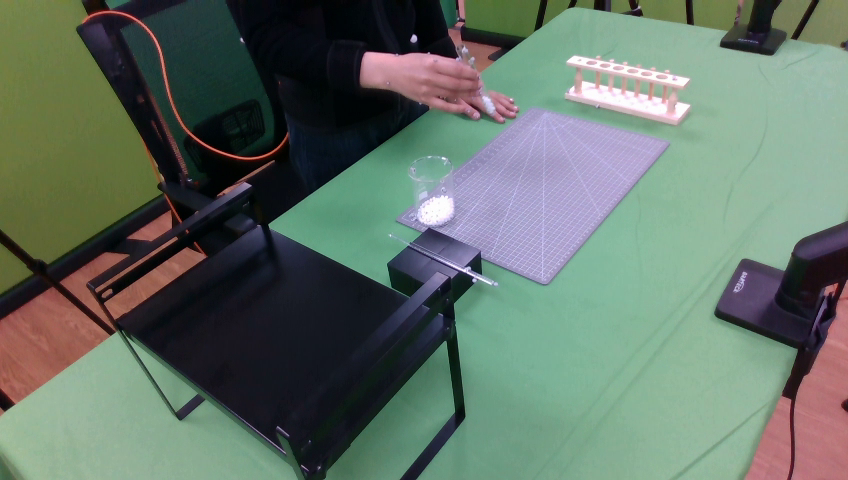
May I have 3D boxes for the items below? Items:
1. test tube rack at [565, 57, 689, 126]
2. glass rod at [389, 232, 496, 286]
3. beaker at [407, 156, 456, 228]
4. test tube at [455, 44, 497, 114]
[{"bbox_3d":[0.412,-0.311,1.230,0.240,0.085,0.067,23,49,32],"label":"test tube rack"},{"bbox_3d":[0.022,0.025,0.878,0.198,0.008,0.008,25,50,33],"label":"glass rod"},{"bbox_3d":[0.017,-0.079,1.002,0.073,0.101,0.084,25,49,33],"label":"beaker"},{"bbox_3d":[0.086,-0.257,0.975,0.017,0.151,0.017,-14,54,21],"label":"test tube"}]
